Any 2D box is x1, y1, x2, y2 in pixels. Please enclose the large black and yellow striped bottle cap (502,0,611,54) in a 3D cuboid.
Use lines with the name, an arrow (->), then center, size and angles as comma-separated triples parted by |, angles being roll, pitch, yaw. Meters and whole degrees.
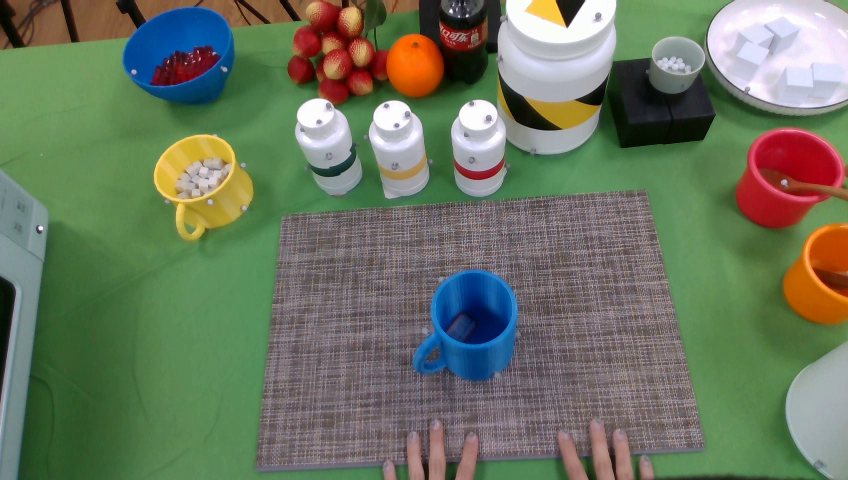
large black and yellow striped bottle cap -> 0.140, -0.247, 0.642 | 0.115, 0.019, 0.114 | -3, 63, 7

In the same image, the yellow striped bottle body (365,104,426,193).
yellow striped bottle body -> -0.034, -0.114, 0.723 | 0.063, 0.121, 0.062 | -3, 61, 5

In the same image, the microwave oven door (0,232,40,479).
microwave oven door -> -0.459, 0.122, 0.550 | 0.039, 0.246, 0.352 | -12, 62, 0

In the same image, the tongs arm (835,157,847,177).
tongs arm -> 0.623, 0.023, 0.637 | 0.051, 0.027, 0.381 | -36, 65, -17

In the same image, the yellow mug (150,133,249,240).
yellow mug -> -0.280, -0.061, 0.750 | 0.100, 0.064, 0.130 | 5, 64, 8

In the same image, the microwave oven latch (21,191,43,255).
microwave oven latch -> -0.490, -0.019, 0.742 | 0.030, 0.030, 0.078 | -11, 63, -1

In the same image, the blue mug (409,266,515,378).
blue mug -> 0.035, 0.094, 0.612 | 0.116, 0.107, 0.081 | -32, 63, -11

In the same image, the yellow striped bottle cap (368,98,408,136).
yellow striped bottle cap -> -0.040, -0.138, 0.677 | 0.044, 0.019, 0.044 | 0, 59, 1

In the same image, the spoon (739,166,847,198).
spoon -> 0.409, -0.055, 0.637 | 0.041, 0.192, 0.022 | -20, 107, -9

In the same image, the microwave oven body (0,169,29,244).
microwave oven body -> -0.609, 0.119, 0.572 | 0.326, 0.262, 0.437 | -12, 63, -1

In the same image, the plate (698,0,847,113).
plate -> 0.464, -0.245, 0.791 | 0.209, 0.038, 0.207 | -2, 63, 4

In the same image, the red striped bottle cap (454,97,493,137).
red striped bottle cap -> 0.055, -0.136, 0.667 | 0.044, 0.018, 0.044 | 0, 61, 1

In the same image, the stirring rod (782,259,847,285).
stirring rod -> 0.428, 0.043, 0.586 | 0.014, 0.006, 0.174 | -28, 21, -14

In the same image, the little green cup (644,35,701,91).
little green cup -> 0.297, -0.212, 0.732 | 0.061, 0.039, 0.061 | -1, 60, 2

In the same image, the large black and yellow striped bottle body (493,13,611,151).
large black and yellow striped bottle body -> 0.147, -0.208, 0.719 | 0.131, 0.185, 0.129 | -2, 62, 5

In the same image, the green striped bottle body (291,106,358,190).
green striped bottle body -> -0.121, -0.117, 0.733 | 0.063, 0.120, 0.062 | -2, 62, 4

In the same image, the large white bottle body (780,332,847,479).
large white bottle body -> 0.407, 0.133, 0.514 | 0.130, 0.186, 0.129 | -2, 62, 5

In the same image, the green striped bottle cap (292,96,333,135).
green striped bottle cap -> -0.127, -0.141, 0.687 | 0.044, 0.020, 0.044 | -1, 62, 3

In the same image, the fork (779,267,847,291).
fork -> 0.457, 0.027, 0.586 | 0.206, 0.019, 0.028 | -17, 46, 49

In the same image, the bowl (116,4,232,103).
bowl -> -0.333, -0.246, 0.844 | 0.151, 0.077, 0.150 | -2, 62, 4

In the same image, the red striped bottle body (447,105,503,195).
red striped bottle body -> 0.061, -0.110, 0.712 | 0.063, 0.121, 0.062 | -4, 61, 7
